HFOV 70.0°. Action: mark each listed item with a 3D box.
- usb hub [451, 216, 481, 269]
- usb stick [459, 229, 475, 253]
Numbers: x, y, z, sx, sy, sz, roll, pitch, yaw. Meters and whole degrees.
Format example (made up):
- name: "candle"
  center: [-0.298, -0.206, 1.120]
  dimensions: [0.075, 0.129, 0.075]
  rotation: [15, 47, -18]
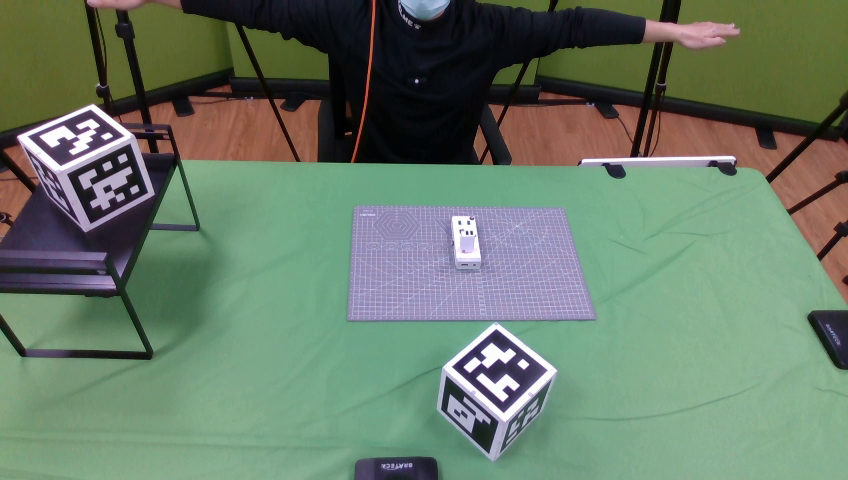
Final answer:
- name: "usb hub"
  center: [0.082, 0.004, 1.194]
  dimensions: [0.049, 0.025, 0.124]
  rotation: [1, 46, -4]
- name: "usb stick"
  center: [0.081, 0.006, 1.150]
  dimensions: [0.027, 0.059, 0.021]
  rotation: [-1, 45, -6]
